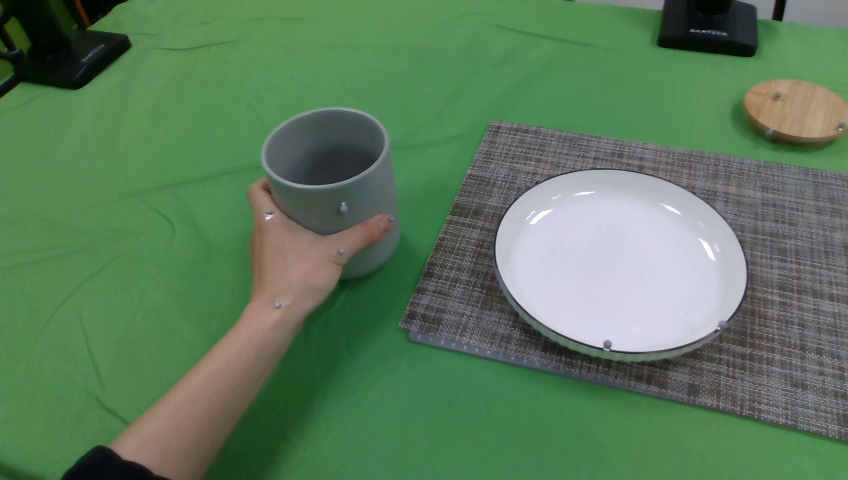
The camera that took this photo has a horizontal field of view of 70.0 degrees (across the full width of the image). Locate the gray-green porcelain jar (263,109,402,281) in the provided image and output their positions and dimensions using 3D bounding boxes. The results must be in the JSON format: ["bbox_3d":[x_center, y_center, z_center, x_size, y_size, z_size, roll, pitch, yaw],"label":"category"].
[{"bbox_3d":[-0.075,-0.034,0.540,0.106,0.128,0.105,-2,48,3],"label":"gray-green porcelain jar"}]

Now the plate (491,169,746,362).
[{"bbox_3d":[0.162,0.020,0.525,0.207,0.039,0.205,-2,48,3],"label":"plate"}]

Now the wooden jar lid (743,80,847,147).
[{"bbox_3d":[0.407,-0.138,0.665,0.108,0.021,0.107,-2,49,3],"label":"wooden jar lid"}]
